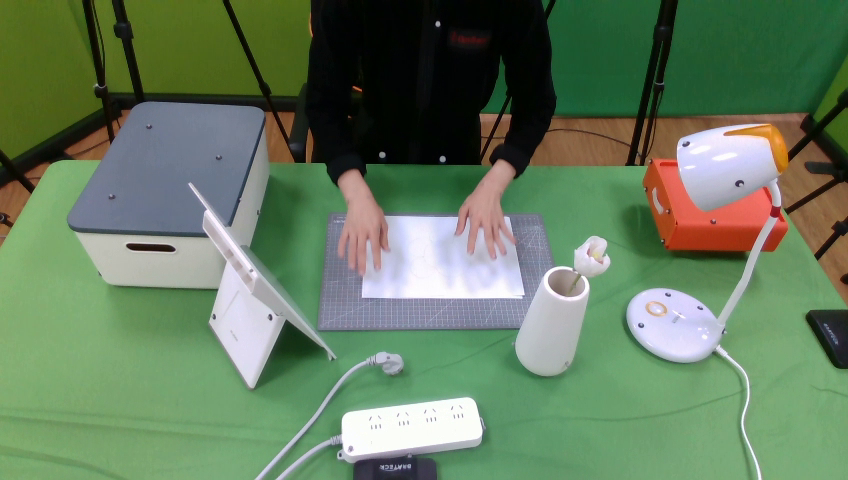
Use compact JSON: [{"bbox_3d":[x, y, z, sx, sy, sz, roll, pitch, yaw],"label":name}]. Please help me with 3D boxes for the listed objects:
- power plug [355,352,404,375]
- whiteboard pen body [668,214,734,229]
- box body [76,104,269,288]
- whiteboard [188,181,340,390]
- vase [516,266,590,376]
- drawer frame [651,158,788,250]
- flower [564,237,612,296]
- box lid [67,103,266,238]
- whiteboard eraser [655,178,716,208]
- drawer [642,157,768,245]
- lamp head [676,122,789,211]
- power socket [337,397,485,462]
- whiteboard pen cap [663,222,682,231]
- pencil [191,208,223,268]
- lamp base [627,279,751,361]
[{"bbox_3d":[-0.068,0.201,0.989,0.072,0.053,0.035,-3,47,21],"label":"power plug"},{"bbox_3d":[0.547,-0.035,1.200,0.141,0.017,0.017,-8,48,-9],"label":"whiteboard pen body"},{"bbox_3d":[-0.450,-0.087,1.149,0.254,0.161,0.361,2,46,-2],"label":"box body"},{"bbox_3d":[-0.292,0.096,0.929,0.144,0.307,0.216,-38,57,-10],"label":"whiteboard"},{"bbox_3d":[0.208,0.132,0.964,0.098,0.201,0.097,3,46,-3],"label":"vase"},{"bbox_3d":[0.571,-0.074,1.213,0.214,0.083,0.200,1,46,0],"label":"drawer frame"},{"bbox_3d":[0.206,0.088,0.892,0.038,0.363,0.044,-16,67,-9],"label":"flower"},{"bbox_3d":[-0.447,-0.137,1.093,0.263,0.015,0.369,2,45,-2],"label":"box lid"},{"bbox_3d":[0.538,-0.095,1.250,0.113,0.042,0.055,4,53,-10],"label":"whiteboard eraser"},{"bbox_3d":[0.564,-0.075,1.210,0.212,0.073,0.193,3,45,-1],"label":"drawer"},{"bbox_3d":[0.423,-0.104,0.819,0.122,0.113,0.112,-13,33,40],"label":"lamp head"},{"bbox_3d":[-0.018,0.285,0.915,0.227,0.033,0.071,-4,46,-8],"label":"power socket"},{"bbox_3d":[0.488,-0.027,1.188,0.033,0.018,0.018,0,46,-13],"label":"whiteboard pen cap"},{"bbox_3d":[-0.421,-0.009,1.186,0.012,0.012,0.193,3,37,-1],"label":"pencil"},{"bbox_3d":[0.459,0.100,1.027,0.178,0.181,0.160,27,51,17],"label":"lamp base"}]
